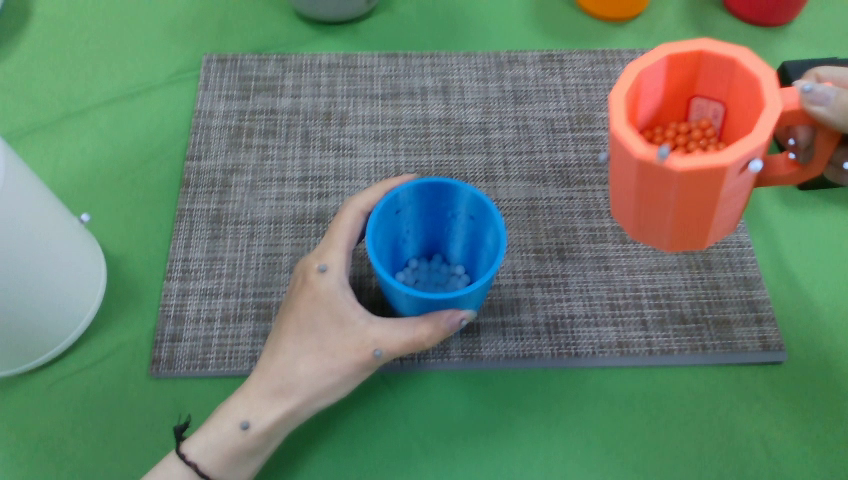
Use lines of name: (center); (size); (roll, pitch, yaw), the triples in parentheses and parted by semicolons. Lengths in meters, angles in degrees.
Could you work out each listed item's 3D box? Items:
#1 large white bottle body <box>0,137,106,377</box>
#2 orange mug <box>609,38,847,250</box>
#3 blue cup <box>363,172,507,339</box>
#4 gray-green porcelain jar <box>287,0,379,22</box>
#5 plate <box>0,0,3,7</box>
large white bottle body: (-0.294, -0.004, 0.362); (0.131, 0.186, 0.129); (1, 61, -1)
orange mug: (0.171, -0.055, 0.356); (0.126, 0.102, 0.083); (-7, 61, 19)
blue cup: (0.006, 0.021, 0.402); (0.093, 0.101, 0.092); (1, 60, -1)
gray-green porcelain jar: (-0.088, -0.275, 0.550); (0.106, 0.127, 0.105); (1, 61, -1)
plate: (-0.489, -0.218, 0.555); (0.208, 0.039, 0.206); (1, 61, -1)
